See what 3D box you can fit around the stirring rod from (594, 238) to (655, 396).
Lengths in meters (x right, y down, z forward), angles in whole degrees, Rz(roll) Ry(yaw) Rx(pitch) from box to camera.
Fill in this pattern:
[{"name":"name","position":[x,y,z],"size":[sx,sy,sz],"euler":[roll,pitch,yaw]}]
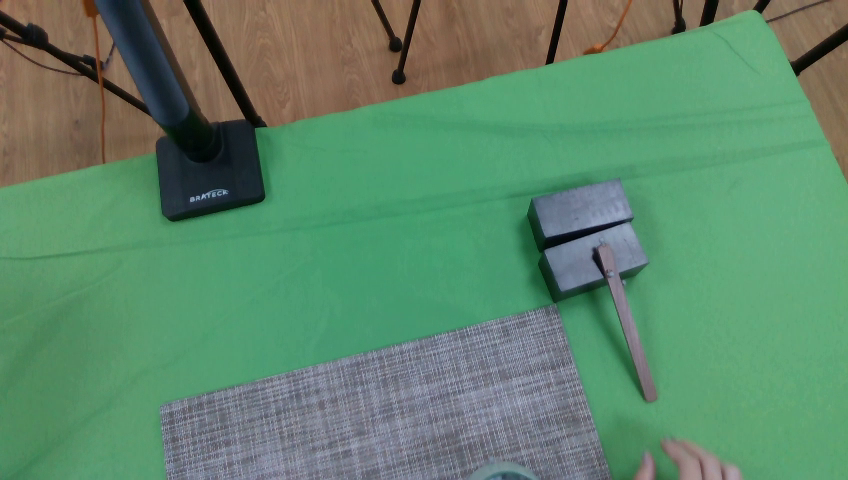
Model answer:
[{"name":"stirring rod","position":[0.212,0.081,0.639],"size":[0.014,0.006,0.176],"euler":[-19,93,-5]}]

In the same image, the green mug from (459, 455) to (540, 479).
[{"name":"green mug","position":[0.082,0.264,0.562],"size":[0.092,0.105,0.124],"euler":[-30,73,-8]}]
